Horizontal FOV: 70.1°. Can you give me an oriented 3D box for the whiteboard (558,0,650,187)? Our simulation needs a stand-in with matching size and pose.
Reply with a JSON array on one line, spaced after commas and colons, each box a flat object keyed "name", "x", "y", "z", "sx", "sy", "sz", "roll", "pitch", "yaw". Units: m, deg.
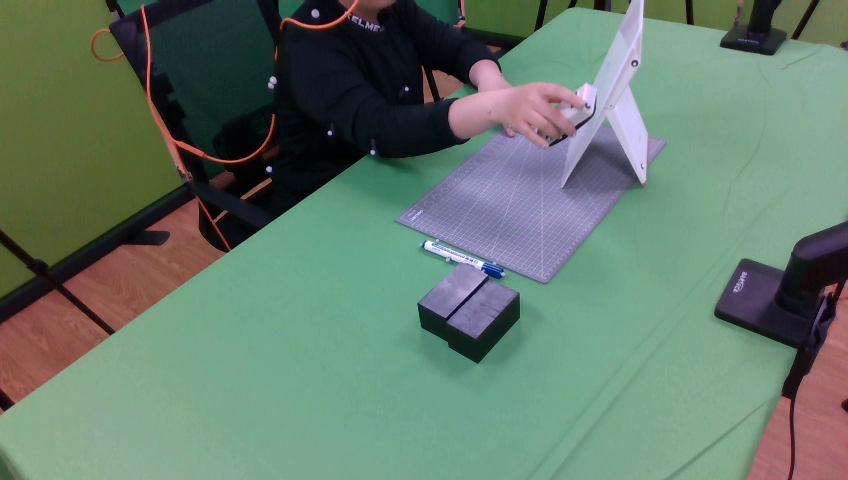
[{"name": "whiteboard", "x": 0.362, "y": -0.238, "z": 1.026, "sx": 0.144, "sy": 0.306, "sz": 0.217, "roll": 21, "pitch": 44, "yaw": 4}]

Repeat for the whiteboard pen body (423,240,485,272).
[{"name": "whiteboard pen body", "x": 0.057, "y": 0.027, "z": 0.942, "sx": 0.139, "sy": 0.017, "sz": 0.017, "roll": 21, "pitch": 48, "yaw": 30}]

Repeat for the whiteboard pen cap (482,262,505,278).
[{"name": "whiteboard pen cap", "x": 0.104, "y": 0.044, "z": 0.912, "sx": 0.033, "sy": 0.018, "sz": 0.018, "roll": 21, "pitch": 48, "yaw": 29}]

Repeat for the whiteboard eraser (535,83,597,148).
[{"name": "whiteboard eraser", "x": 0.222, "y": -0.190, "z": 0.936, "sx": 0.042, "sy": 0.112, "sz": 0.055, "roll": 30, "pitch": 58, "yaw": -16}]
